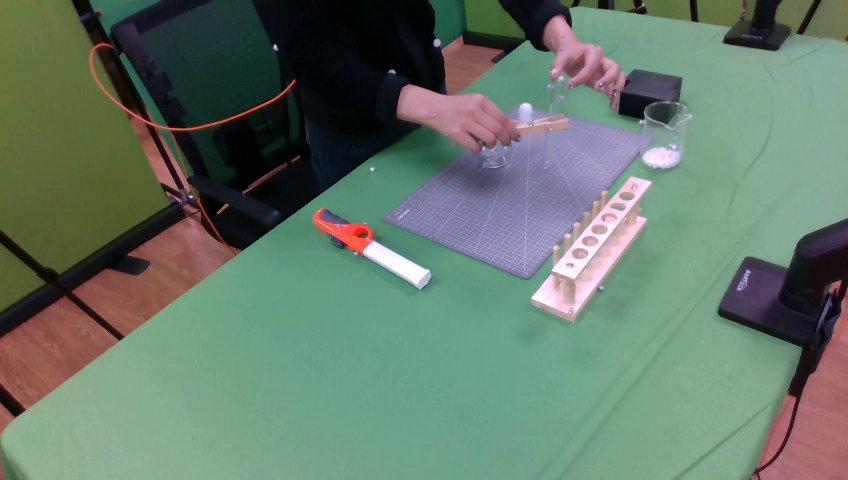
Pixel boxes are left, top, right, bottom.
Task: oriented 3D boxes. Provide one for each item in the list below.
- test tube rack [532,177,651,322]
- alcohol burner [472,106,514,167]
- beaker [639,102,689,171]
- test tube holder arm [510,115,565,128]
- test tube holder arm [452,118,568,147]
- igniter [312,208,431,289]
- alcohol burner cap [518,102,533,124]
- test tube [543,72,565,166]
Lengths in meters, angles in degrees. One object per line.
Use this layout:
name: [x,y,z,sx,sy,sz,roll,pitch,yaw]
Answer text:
test tube rack: [0.248,0.003,0.883,0.066,0.085,0.243,22,49,32]
alcohol burner: [0.126,-0.194,1.111,0.078,0.119,0.077,-5,42,5]
beaker: [0.416,-0.177,1.053,0.074,0.101,0.083,-4,41,7]
test tube holder arm: [0.172,-0.175,0.920,0.088,0.015,0.010,-14,32,-11]
test tube holder arm: [0.130,-0.162,0.909,0.179,0.015,0.013,-11,31,-5]
igniter: [-0.096,0.008,0.985,0.274,0.025,0.057,28,62,36]
alcohol burner cap: [0.205,-0.254,1.223,0.034,0.048,0.033,-6,40,6]
test tube: [0.196,-0.180,0.917,0.017,0.151,0.017,0,37,0]
